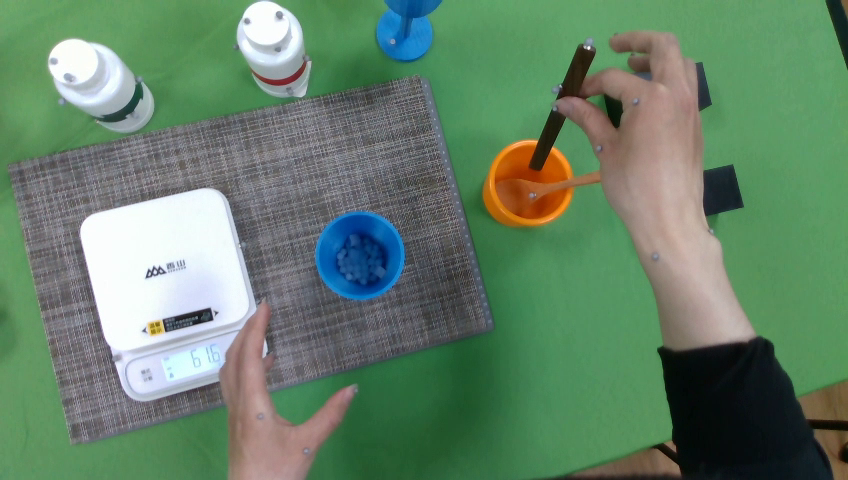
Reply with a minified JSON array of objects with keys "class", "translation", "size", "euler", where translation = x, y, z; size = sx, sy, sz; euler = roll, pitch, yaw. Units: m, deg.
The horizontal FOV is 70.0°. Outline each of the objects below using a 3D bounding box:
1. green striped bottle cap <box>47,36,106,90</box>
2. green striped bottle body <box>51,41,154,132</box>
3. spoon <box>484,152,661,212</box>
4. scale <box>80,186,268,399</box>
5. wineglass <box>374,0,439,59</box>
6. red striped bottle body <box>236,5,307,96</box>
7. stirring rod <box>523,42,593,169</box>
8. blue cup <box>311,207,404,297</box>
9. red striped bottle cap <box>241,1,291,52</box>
[{"class":"green striped bottle cap","translation":[-0.312,-0.159,0.544],"size":[0.044,0.020,0.044],"euler":[1,85,-5]},{"class":"green striped bottle body","translation":[-0.318,-0.153,0.599],"size":[0.063,0.119,0.063],"euler":[1,84,-7]},{"class":"spoon","translation":[0.148,-0.062,0.634],"size":[0.022,0.193,0.041],"euler":[-15,93,-52]},{"class":"scale","translation":[-0.258,0.053,0.629],"size":[0.149,0.031,0.200],"euler":[-15,87,-8]},{"class":"wineglass","translation":[-0.017,-0.249,0.618],"size":[0.074,0.172,0.073],"euler":[1,84,-6]},{"class":"red striped bottle body","translation":[-0.155,-0.197,0.623],"size":[0.063,0.119,0.063],"euler":[1,84,-7]},{"class":"stirring rod","translation":[0.104,-0.101,0.492],"size":[0.014,0.177,0.006],"euler":[16,70,3]},{"class":"blue cup","translation":[-0.065,0.015,0.621],"size":[0.093,0.100,0.092],"euler":[0,86,-5]},{"class":"red striped bottle cap","translation":[-0.149,-0.202,0.570],"size":[0.044,0.018,0.044],"euler":[1,83,-6]}]
